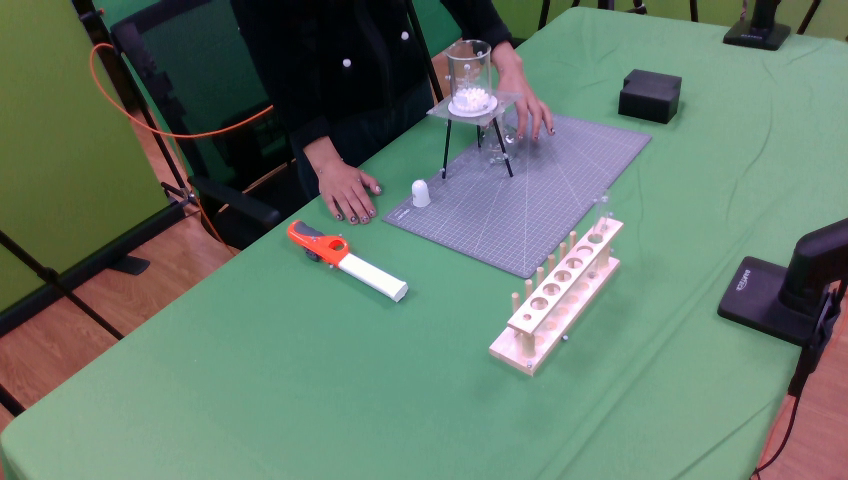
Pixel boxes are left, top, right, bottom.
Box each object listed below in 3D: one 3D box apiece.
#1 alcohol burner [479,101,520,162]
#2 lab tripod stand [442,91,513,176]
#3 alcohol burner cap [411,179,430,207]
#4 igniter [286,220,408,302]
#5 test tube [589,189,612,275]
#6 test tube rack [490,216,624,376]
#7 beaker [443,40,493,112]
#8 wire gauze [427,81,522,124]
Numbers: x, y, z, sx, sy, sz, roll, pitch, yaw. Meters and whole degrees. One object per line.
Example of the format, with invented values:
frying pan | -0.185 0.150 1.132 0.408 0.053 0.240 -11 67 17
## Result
alcohol burner | 0.139 -0.204 1.121 0.078 0.119 0.077 -4 42 4
lab tripod stand | 0.096 -0.190 1.096 0.148 0.132 0.147 -4 40 4
alcohol burner cap | -0.008 -0.085 1.063 0.034 0.048 0.033 -4 40 4
igniter | -0.134 0.028 0.969 0.274 0.025 0.057 26 61 35
test tube | 0.238 -0.007 0.818 0.017 0.151 0.017 -3 43 4
test tube rack | 0.184 0.064 0.822 0.066 0.085 0.243 24 50 33
beaker | 0.076 -0.276 1.023 0.083 0.101 0.074 5 42 15
wire gauze | 0.088 -0.237 1.051 0.120 0.011 0.125 23 47 29
